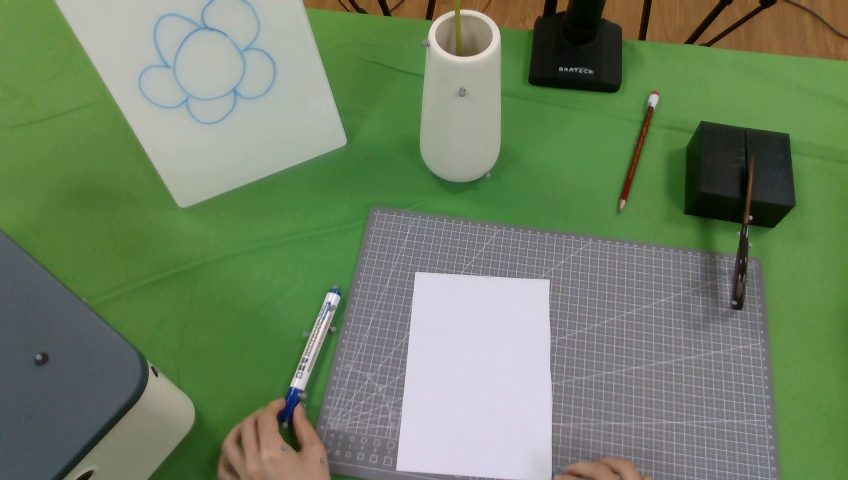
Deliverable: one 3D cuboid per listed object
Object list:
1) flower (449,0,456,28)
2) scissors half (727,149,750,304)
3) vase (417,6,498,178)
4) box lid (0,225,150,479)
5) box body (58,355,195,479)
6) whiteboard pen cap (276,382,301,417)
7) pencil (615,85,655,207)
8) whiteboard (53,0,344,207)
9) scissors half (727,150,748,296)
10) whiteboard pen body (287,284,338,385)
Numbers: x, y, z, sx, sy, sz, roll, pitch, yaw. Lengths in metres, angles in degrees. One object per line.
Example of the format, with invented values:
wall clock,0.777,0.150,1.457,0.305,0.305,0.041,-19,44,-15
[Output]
flower,0.030,-0.207,0.600,0.044,0.365,0.038,1,45,6
scissors half,0.346,-0.016,0.660,0.012,0.040,0.174,6,82,30
vase,0.037,-0.156,0.668,0.098,0.201,0.097,-1,62,2
box lid,-0.432,0.095,0.484,0.369,0.015,0.262,33,68,16
box body,-0.429,0.131,0.550,0.362,0.161,0.253,33,68,16
whiteboard pen cap,-0.135,0.160,0.609,0.018,0.018,0.033,15,60,9
pencil,0.261,-0.120,0.752,0.012,0.012,0.193,19,66,11
whiteboard,-0.248,-0.230,0.684,0.217,0.308,0.142,-23,46,-10
scissors half,0.337,-0.023,0.642,0.013,0.040,0.174,7,64,25
whiteboard pen body,-0.120,0.109,0.636,0.017,0.017,0.140,14,63,8
